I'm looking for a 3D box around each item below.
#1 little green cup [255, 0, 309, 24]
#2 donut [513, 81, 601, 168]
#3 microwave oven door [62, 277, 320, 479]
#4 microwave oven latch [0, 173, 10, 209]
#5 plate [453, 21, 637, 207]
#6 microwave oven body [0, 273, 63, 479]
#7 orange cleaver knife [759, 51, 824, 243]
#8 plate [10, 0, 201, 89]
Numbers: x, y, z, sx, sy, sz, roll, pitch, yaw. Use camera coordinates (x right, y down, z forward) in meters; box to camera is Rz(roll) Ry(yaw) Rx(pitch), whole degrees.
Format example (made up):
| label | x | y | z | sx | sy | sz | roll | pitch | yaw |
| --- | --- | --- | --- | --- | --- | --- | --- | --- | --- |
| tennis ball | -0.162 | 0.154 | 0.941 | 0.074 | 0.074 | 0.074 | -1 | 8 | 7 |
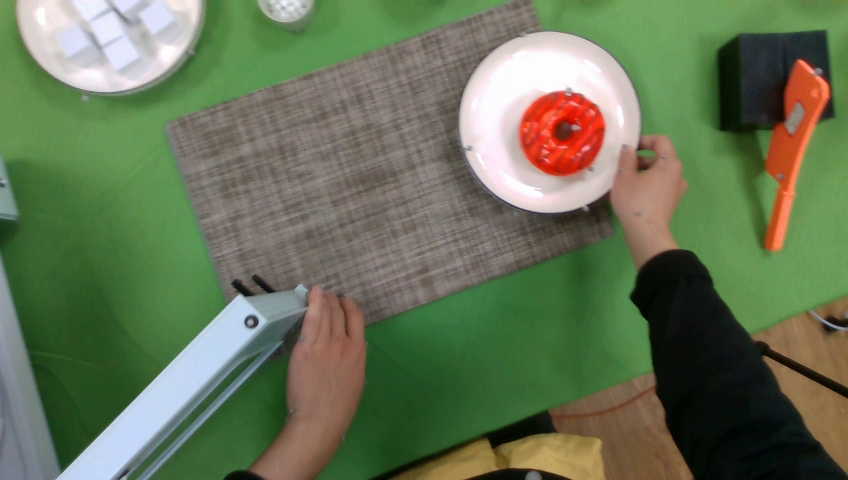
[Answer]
| label | x | y | z | sx | sy | sz | roll | pitch | yaw |
| --- | --- | --- | --- | --- | --- | --- | --- | --- | --- |
| little green cup | -0.161 | -0.279 | 0.693 | 0.061 | 0.038 | 0.061 | 0 | 89 | -1 |
| donut | 0.150 | -0.130 | 0.682 | 0.099 | 0.048 | 0.099 | 0 | 90 | 0 |
| microwave oven door | -0.251 | 0.176 | 0.563 | 0.039 | 0.244 | 0.355 | 44 | 88 | 1 |
| microwave oven latch | -0.483 | -0.072 | 0.663 | 0.030 | 0.029 | 0.079 | -16 | 90 | -2 |
| plate | 0.136 | -0.140 | 0.693 | 0.209 | 0.038 | 0.209 | 0 | 89 | -1 |
| microwave oven body | -0.571 | 0.138 | 0.561 | 0.326 | 0.260 | 0.441 | -17 | 90 | -2 |
| orange cleaver knife | 0.401 | -0.100 | 0.680 | 0.012 | 0.076 | 0.213 | 0 | 119 | 2 |
| plate | -0.355 | -0.272 | 0.689 | 0.208 | 0.039 | 0.207 | 0 | 89 | -1 |
